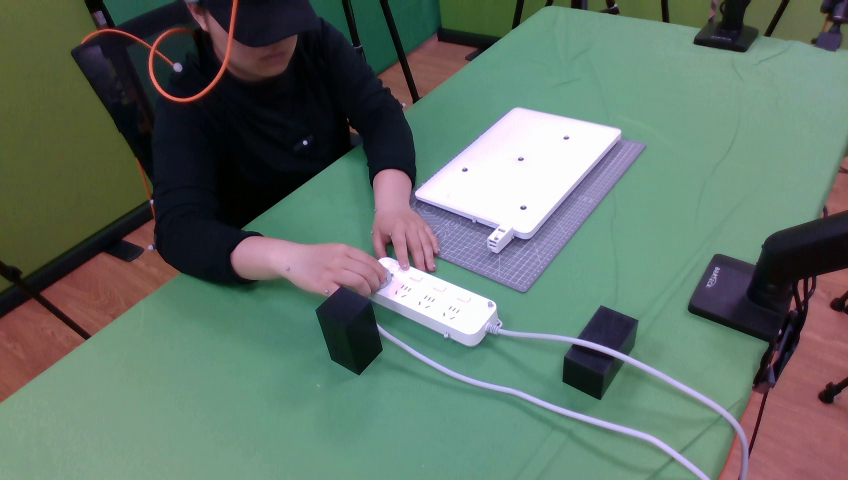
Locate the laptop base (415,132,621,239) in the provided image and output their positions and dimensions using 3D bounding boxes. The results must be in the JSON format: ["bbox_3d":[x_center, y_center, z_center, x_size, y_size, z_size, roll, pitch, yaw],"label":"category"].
[{"bbox_3d":[0.179,-0.134,1.101,0.233,0.023,0.355,20,47,33],"label":"laptop base"}]

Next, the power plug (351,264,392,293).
[{"bbox_3d":[-0.079,0.062,0.868,0.073,0.053,0.035,-33,47,-25],"label":"power plug"}]

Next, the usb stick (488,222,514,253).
[{"bbox_3d":[0.124,-0.008,0.944,0.021,0.027,0.059,25,47,31],"label":"usb stick"}]

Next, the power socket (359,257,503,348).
[{"bbox_3d":[0.003,0.085,0.862,0.225,0.033,0.072,22,50,30],"label":"power socket"}]

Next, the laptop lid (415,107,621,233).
[{"bbox_3d":[0.176,-0.144,1.095,0.239,0.013,0.358,23,49,33],"label":"laptop lid"}]
